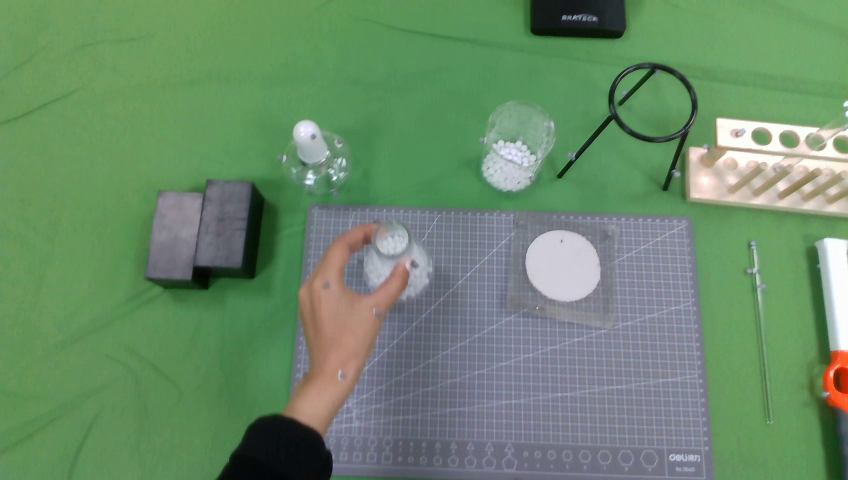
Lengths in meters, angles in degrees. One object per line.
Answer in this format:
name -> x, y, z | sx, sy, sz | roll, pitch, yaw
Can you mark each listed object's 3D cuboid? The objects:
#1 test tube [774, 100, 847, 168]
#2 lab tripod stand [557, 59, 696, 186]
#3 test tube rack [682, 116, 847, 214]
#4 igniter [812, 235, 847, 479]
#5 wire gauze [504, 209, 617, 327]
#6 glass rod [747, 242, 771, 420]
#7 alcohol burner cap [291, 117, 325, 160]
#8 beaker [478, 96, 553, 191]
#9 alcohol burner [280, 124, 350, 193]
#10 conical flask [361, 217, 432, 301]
test tube -> 0.416, -0.110, 0.644 | 0.017, 0.151, 0.017 | -1, 73, 2
lab tripod stand -> 0.227, -0.123, 0.673 | 0.148, 0.132, 0.147 | 0, 76, 0
test tube rack -> 0.431, -0.081, 0.688 | 0.242, 0.085, 0.066 | 6, 74, 1
igniter -> 0.455, 0.129, 0.659 | 0.057, 0.025, 0.275 | 6, 74, -9
wire gauze -> 0.157, 0.029, 0.691 | 0.125, 0.011, 0.121 | 10, 74, 0
glass rod -> 0.373, 0.098, 0.677 | 0.008, 0.008, 0.198 | 3, 74, 0
alcohol burner cap -> -0.123, -0.110, 0.638 | 0.034, 0.048, 0.033 | 1, 68, -1
beaker -> 0.100, -0.101, 0.683 | 0.074, 0.101, 0.083 | -15, 75, -4
alcohol burner -> -0.124, -0.098, 0.671 | 0.078, 0.119, 0.077 | 0, 75, 1
conical flask -> -0.030, 0.014, 0.595 | 0.075, 0.122, 0.075 | 0, 75, 0
